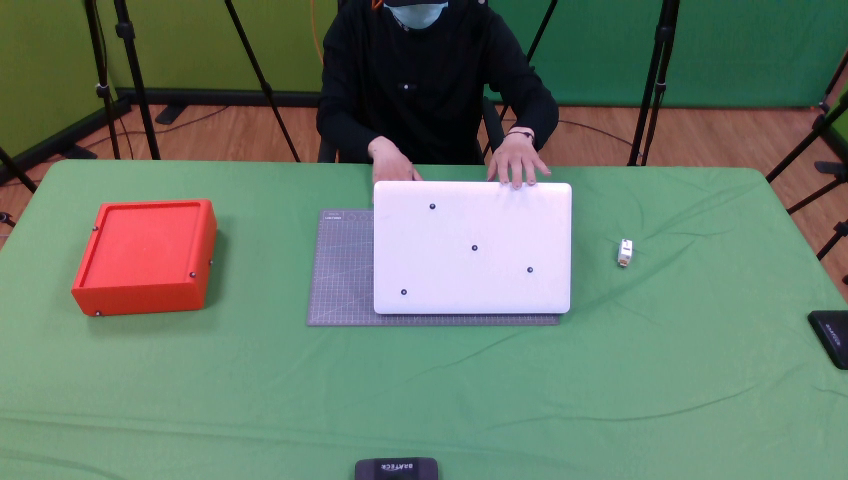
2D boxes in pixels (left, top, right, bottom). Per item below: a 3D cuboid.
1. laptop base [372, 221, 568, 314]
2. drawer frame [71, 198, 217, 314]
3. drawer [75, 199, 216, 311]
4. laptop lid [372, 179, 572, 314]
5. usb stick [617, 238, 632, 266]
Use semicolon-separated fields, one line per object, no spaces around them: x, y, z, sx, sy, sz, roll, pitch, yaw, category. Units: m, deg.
0.080;0.049;1.159;0.355;0.023;0.234;0;43;-4;laptop base
-0.493;0.023;1.096;0.202;0.083;0.212;-3;47;-8;drawer frame
-0.494;0.023;1.098;0.195;0.073;0.210;-2;47;-8;drawer
0.086;0.012;1.063;0.357;0.241;0.013;2;2;-4;laptop lid
0.397;0.025;1.200;0.021;0.027;0.059;15;50;8;usb stick
